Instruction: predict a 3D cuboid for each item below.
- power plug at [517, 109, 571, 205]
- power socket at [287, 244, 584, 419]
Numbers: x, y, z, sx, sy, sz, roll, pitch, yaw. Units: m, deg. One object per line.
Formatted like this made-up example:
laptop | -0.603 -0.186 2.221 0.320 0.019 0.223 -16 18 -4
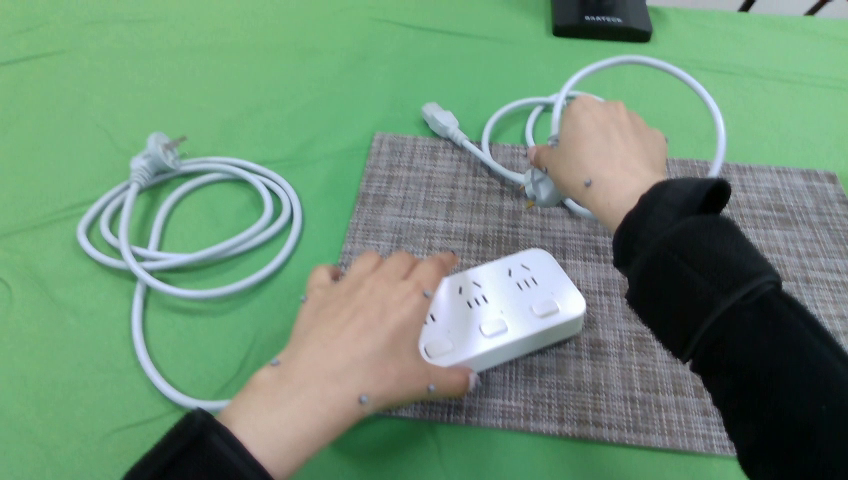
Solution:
power plug | 0.101 -0.063 0.506 0.035 0.052 0.072 26 59 -24
power socket | 0.012 0.061 0.438 0.227 0.033 0.071 -17 51 -15
